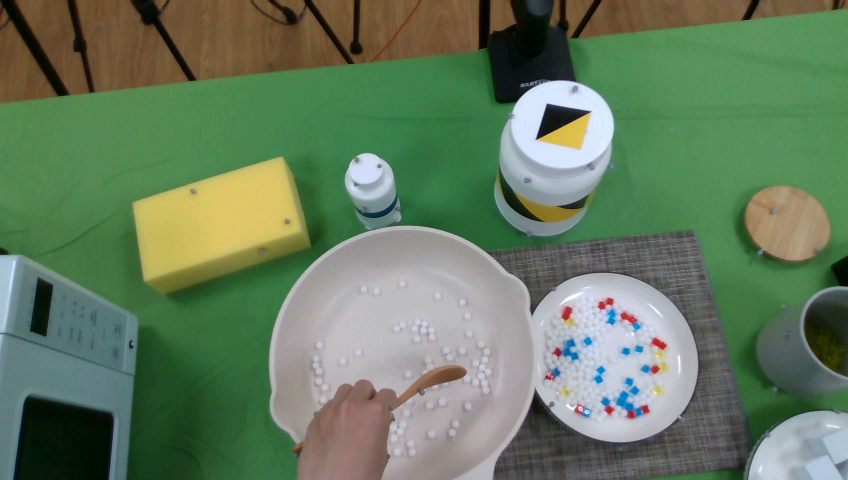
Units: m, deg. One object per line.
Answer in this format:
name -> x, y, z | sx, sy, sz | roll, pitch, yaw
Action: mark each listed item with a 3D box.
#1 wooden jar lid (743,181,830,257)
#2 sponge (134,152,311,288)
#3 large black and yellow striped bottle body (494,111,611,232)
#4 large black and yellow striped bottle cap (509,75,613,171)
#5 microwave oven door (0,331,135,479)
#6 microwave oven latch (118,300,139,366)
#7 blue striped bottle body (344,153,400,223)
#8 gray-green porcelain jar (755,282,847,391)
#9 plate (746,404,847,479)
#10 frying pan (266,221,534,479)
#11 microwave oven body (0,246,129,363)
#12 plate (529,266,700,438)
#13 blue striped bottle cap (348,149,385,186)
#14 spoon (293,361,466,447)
wooden jar lid -> 0.478, -0.027, 0.803 | 0.108, 0.021, 0.107 | -1, 71, 3
sponge -> -0.270, -0.027, 0.818 | 0.207, 0.061, 0.117 | -19, 70, -5
large black and yellow striped bottle body -> 0.158, -0.101, 0.759 | 0.131, 0.185, 0.130 | -1, 69, 3
large black and yellow striped bottle cap -> 0.154, -0.133, 0.681 | 0.115, 0.019, 0.114 | -1, 71, 2
microwave oven door -> -0.370, 0.286, 0.592 | 0.039, 0.245, 0.353 | -6, 69, 1
microwave oven latch -> -0.379, 0.118, 0.763 | 0.030, 0.030, 0.078 | -4, 70, 1
blue striped bottle body -> -0.068, -0.072, 0.793 | 0.063, 0.121, 0.062 | -1, 70, 3
gray-green porcelain jar -> 0.454, 0.116, 0.695 | 0.106, 0.127, 0.105 | -1, 69, 3
plate -> 0.465, 0.291, 0.679 | 0.207, 0.039, 0.206 | -1, 70, 3
frying pan -> 0.019, 0.205, 0.638 | 0.307, 0.103, 0.483 | -26, 63, -5
microwave oven body -> -0.518, 0.262, 0.614 | 0.326, 0.262, 0.438 | -5, 70, 0
plate -> 0.225, 0.135, 0.743 | 0.209, 0.038, 0.207 | -1, 70, 3
blue striped bottle cap -> -0.071, -0.090, 0.744 | 0.044, 0.021, 0.044 | -2, 67, 4
spoon -> -0.041, 0.166, 0.617 | 0.194, 0.042, 0.021 | -23, 64, -26
